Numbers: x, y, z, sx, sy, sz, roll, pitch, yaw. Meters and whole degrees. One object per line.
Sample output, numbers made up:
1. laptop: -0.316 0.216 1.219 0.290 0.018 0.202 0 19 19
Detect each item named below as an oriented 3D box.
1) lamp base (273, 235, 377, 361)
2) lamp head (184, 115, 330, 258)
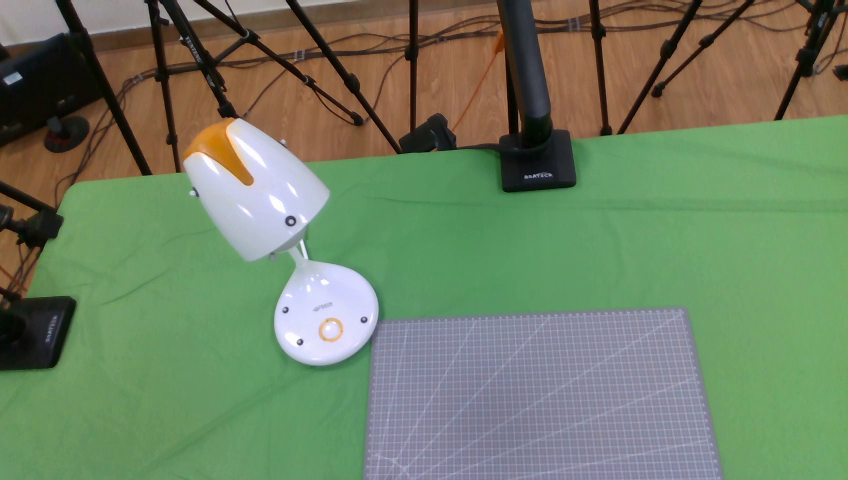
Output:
1. lamp base: -0.167 0.058 0.854 0.160 0.182 0.177 -29 56 -8
2. lamp head: -0.172 -0.061 0.596 0.112 0.124 0.111 -34 19 14
